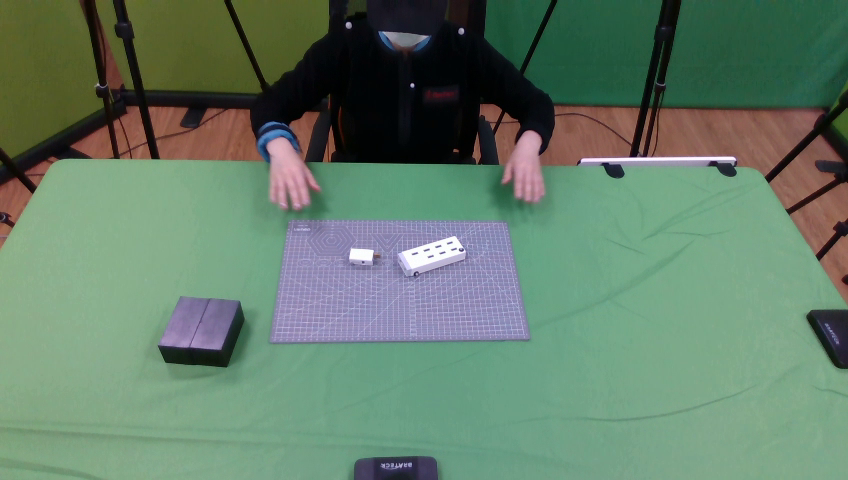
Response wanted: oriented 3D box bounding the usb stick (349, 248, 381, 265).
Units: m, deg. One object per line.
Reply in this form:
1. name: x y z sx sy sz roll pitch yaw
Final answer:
1. usb stick: -0.112 0.032 1.151 0.059 0.021 0.027 2 57 0

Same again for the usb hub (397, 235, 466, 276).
1. usb hub: 0.015 0.030 1.162 0.125 0.025 0.049 -17 51 -19
